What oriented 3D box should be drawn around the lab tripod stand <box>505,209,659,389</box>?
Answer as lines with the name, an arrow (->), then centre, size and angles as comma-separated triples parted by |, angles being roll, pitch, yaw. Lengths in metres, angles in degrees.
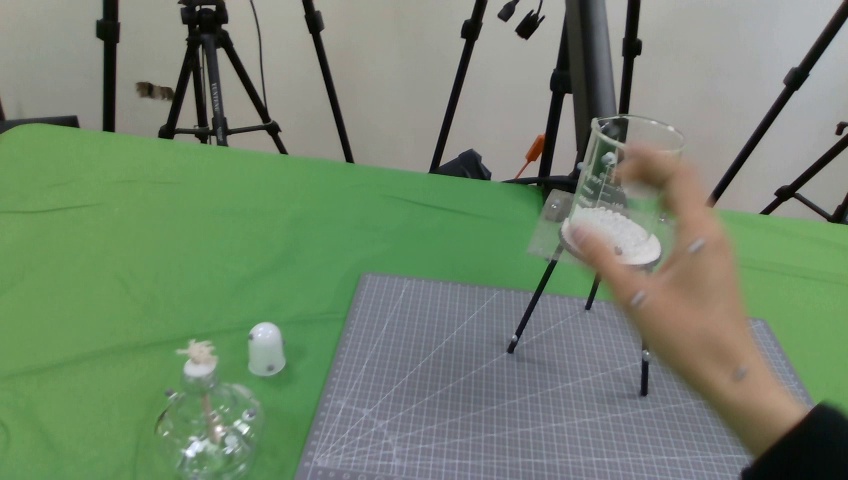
lab tripod stand -> 0.159, 0.050, 0.565 | 0.148, 0.132, 0.147 | 6, 33, -3

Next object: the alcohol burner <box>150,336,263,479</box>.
alcohol burner -> -0.157, 0.118, 0.434 | 0.078, 0.120, 0.077 | 2, 33, -1

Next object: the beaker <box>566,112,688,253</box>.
beaker -> 0.161, -0.048, 0.505 | 0.074, 0.101, 0.083 | -17, 41, -32

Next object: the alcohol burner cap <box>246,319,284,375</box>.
alcohol burner cap -> -0.144, 0.093, 0.542 | 0.034, 0.048, 0.033 | 4, 32, -2

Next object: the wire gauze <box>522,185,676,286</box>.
wire gauze -> 0.158, -0.006, 0.530 | 0.121, 0.011, 0.124 | 15, 36, 14
